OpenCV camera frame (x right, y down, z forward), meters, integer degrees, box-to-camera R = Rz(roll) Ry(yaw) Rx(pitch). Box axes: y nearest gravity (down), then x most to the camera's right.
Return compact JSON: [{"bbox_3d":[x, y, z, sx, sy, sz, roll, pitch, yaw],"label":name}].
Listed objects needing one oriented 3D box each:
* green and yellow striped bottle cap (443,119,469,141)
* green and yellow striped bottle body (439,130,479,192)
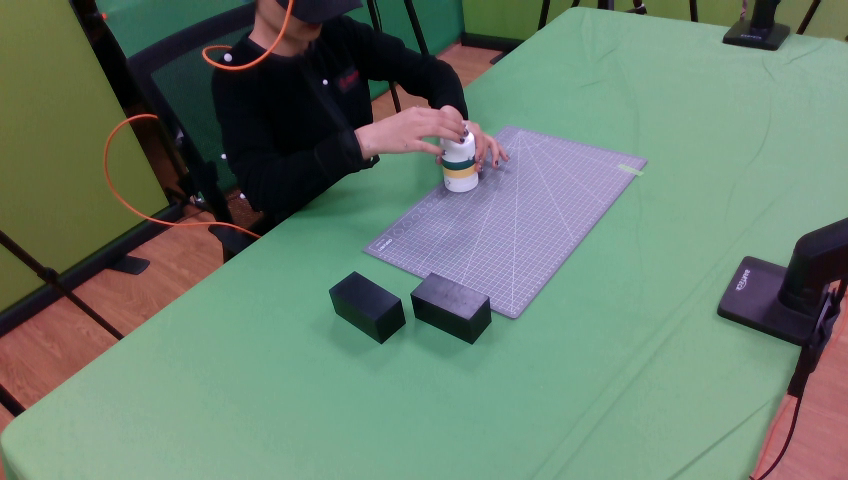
[{"bbox_3d":[0.053,-0.188,1.033,0.045,0.020,0.045,-5,39,4],"label":"green and yellow striped bottle cap"},{"bbox_3d":[0.062,-0.149,1.066,0.063,0.120,0.063,-6,40,5],"label":"green and yellow striped bottle body"}]
